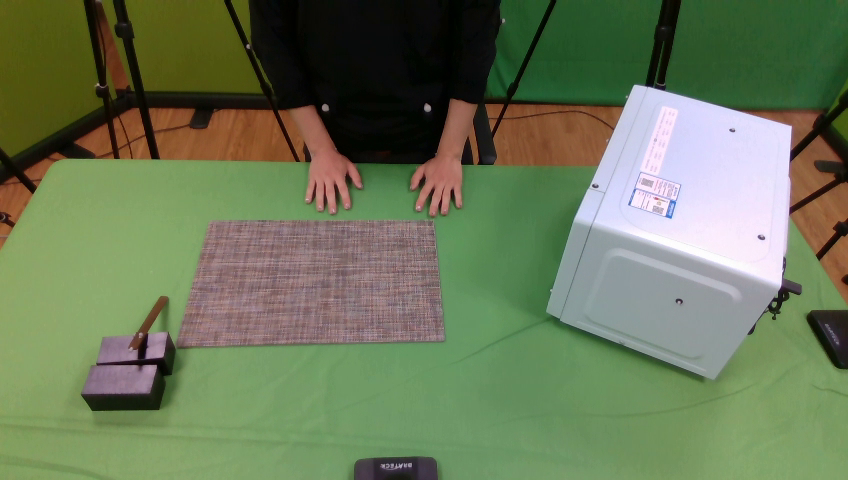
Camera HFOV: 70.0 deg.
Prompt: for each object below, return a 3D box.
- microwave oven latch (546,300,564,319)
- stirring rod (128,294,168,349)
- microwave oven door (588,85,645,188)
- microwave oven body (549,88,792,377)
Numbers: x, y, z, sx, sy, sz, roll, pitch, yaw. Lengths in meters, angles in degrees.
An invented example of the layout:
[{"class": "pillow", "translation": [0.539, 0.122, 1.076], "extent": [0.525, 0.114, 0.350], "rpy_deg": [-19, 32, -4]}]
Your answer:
[{"class": "microwave oven latch", "translation": [0.242, 0.102, 1.081], "extent": [0.030, 0.029, 0.079], "rpy_deg": [21, 48, 17]}, {"class": "stirring rod", "translation": [-0.451, 0.131, 0.996], "extent": [0.014, 0.006, 0.175], "rpy_deg": [9, 21, -10]}, {"class": "microwave oven door", "translation": [0.342, -0.107, 1.149], "extent": [0.039, 0.245, 0.354], "rpy_deg": [20, 48, 15]}, {"class": "microwave oven body", "translation": [0.456, -0.028, 1.088], "extent": [0.325, 0.261, 0.440], "rpy_deg": [20, 47, 16]}]
